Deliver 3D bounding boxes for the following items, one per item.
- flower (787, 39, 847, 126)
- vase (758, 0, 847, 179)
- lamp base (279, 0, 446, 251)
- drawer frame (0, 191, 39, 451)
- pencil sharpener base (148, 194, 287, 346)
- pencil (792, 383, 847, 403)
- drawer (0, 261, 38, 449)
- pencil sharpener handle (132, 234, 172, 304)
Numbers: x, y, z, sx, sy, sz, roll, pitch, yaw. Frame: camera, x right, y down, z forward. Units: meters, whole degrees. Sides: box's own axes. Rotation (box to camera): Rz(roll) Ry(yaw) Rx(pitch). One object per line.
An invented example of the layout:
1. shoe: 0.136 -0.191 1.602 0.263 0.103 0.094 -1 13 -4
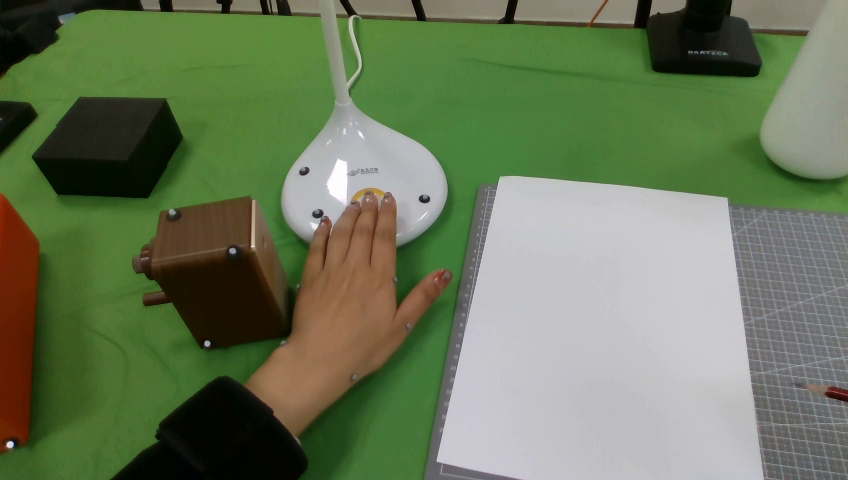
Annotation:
1. flower: 0.355 -0.191 0.455 0.038 0.364 0.043 -37 68 -9
2. vase: 0.369 -0.151 0.529 0.098 0.202 0.097 -3 46 3
3. lamp base: -0.068 -0.110 0.534 0.161 0.182 0.177 -18 47 -12
4. drawer frame: -0.412 0.079 0.452 0.202 0.083 0.211 -19 49 -12
5. pencil sharpener base: -0.155 0.026 0.466 0.077 0.108 0.060 -10 48 -4
6. pencil: 0.285 0.095 0.292 0.192 0.012 0.012 8 43 48
7. drawer: -0.409 0.082 0.452 0.195 0.074 0.209 -18 48 -11
8. pencil sharpener handle: -0.206 0.026 0.453 0.031 0.068 0.035 -10 51 -4
